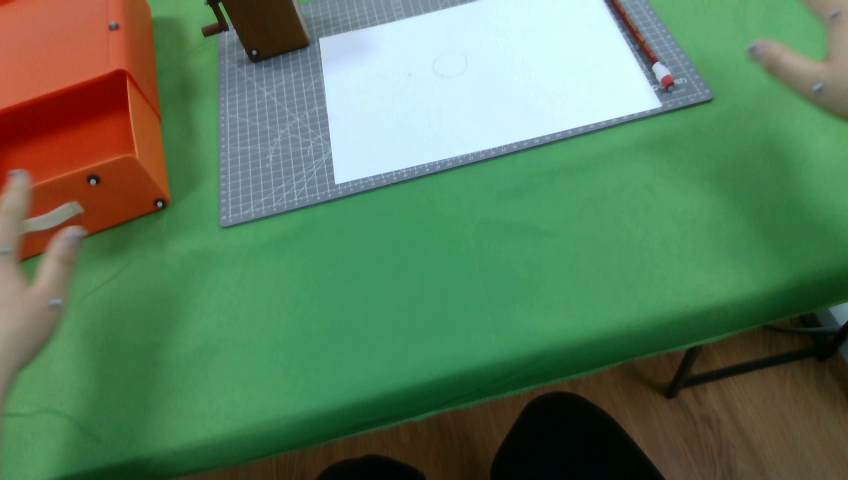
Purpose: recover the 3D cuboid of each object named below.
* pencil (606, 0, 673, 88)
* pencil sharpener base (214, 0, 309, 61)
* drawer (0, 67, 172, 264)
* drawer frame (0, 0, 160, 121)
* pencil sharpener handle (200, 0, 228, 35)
[{"bbox_3d":[0.198,-0.213,0.593,0.012,0.012,0.192,-15,55,0],"label":"pencil"},{"bbox_3d":[-0.174,-0.251,0.627,0.077,0.108,0.060,-19,56,-2],"label":"pencil sharpener base"},{"bbox_3d":[-0.358,-0.095,0.578,0.194,0.074,0.209,-21,55,-4],"label":"drawer"},{"bbox_3d":[-0.396,-0.185,0.642,0.202,0.083,0.211,-21,55,-3],"label":"drawer frame"},{"bbox_3d":[-0.224,-0.240,0.615,0.030,0.068,0.035,-19,52,-2],"label":"pencil sharpener handle"}]
